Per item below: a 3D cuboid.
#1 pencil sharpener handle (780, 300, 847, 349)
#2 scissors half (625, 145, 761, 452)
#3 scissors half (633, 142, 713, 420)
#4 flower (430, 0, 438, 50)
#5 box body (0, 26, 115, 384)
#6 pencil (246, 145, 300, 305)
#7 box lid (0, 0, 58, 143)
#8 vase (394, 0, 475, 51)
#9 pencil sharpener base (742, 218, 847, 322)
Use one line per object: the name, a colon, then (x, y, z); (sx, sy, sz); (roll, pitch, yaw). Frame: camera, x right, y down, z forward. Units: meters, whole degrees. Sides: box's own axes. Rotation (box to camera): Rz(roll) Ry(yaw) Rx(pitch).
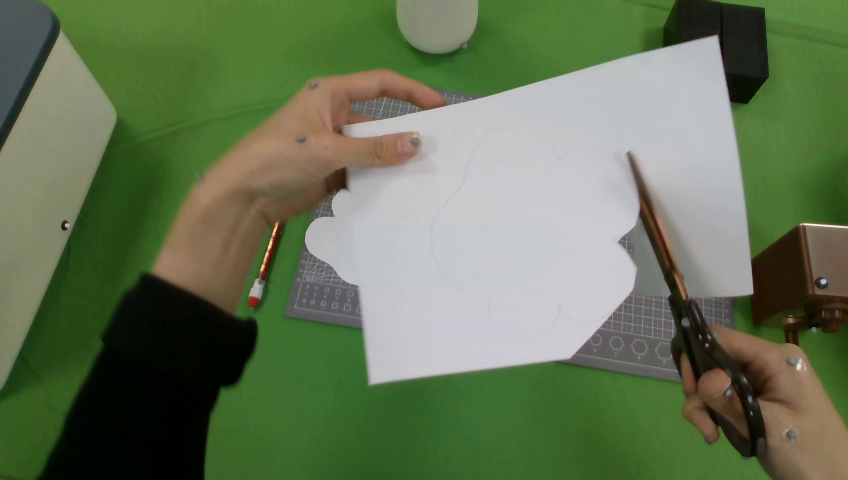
pencil sharpener handle: (0.351, 0.078, 0.547); (0.036, 0.068, 0.030); (10, 68, -11)
scissors half: (0.141, 0.030, 0.324); (0.013, 0.040, 0.174); (-21, 85, -2)
scissors half: (0.141, 0.027, 0.345); (0.013, 0.040, 0.176); (-20, 109, 3)
flower: (0.005, -0.348, 0.591); (0.044, 0.365, 0.038); (2, 50, 5)
box body: (-0.495, -0.046, 0.578); (0.254, 0.161, 0.361); (9, 68, 4)
pencil: (-0.160, -0.022, 0.653); (0.012, 0.012, 0.193); (10, 67, 4)
box lid: (-0.495, -0.077, 0.509); (0.263, 0.015, 0.369); (9, 68, 3)
vase: (0.011, -0.303, 0.663); (0.098, 0.201, 0.097); (0, 66, 1)
pencil sharpener base: (0.360, 0.036, 0.577); (0.061, 0.108, 0.076); (4, 68, 2)
